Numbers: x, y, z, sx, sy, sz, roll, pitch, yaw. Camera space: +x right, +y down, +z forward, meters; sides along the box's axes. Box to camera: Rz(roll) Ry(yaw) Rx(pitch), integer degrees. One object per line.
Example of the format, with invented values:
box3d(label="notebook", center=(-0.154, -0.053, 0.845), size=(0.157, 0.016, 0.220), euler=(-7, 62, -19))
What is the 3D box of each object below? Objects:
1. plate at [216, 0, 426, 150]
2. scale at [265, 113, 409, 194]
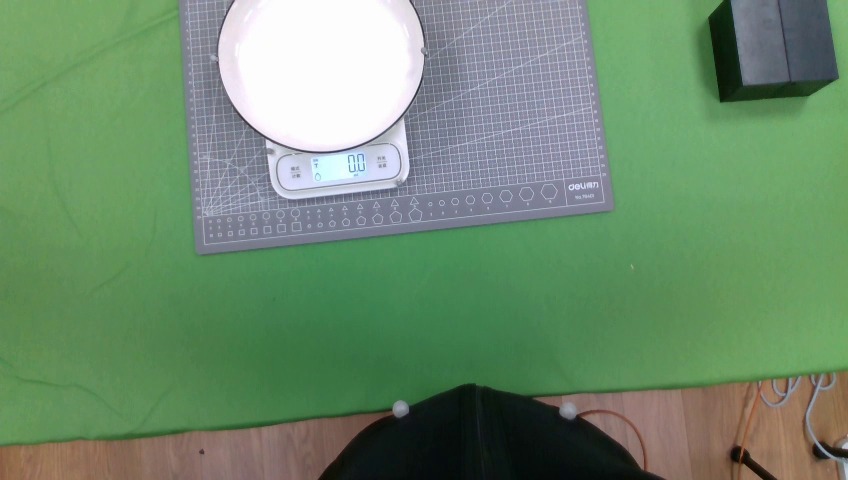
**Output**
box3d(label="plate", center=(-0.101, -0.190, 0.619), size=(0.209, 0.038, 0.208), euler=(0, 84, -1))
box3d(label="scale", center=(-0.099, -0.155, 0.649), size=(0.149, 0.031, 0.200), euler=(-7, 85, -1))
